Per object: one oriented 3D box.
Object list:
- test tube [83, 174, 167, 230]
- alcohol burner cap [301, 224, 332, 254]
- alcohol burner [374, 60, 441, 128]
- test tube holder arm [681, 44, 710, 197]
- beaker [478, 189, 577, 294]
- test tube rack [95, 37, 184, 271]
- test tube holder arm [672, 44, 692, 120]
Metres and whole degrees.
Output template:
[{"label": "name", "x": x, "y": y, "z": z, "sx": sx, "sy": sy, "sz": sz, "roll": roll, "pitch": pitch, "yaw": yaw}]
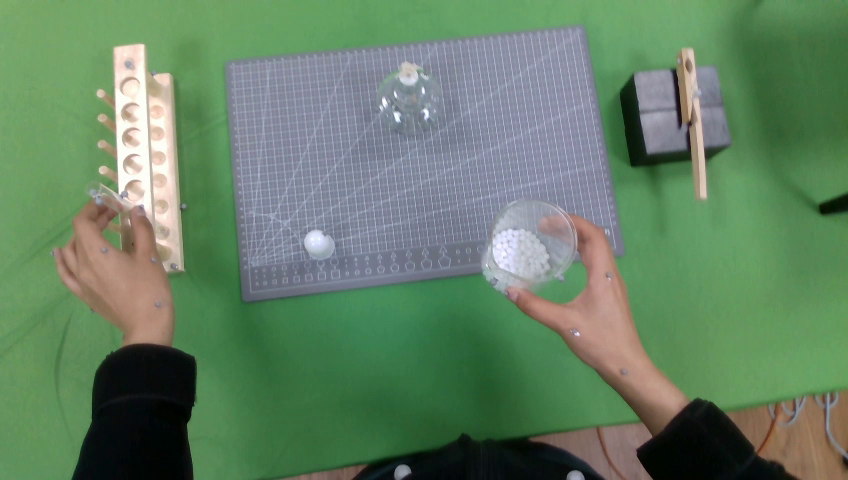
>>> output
[{"label": "test tube", "x": -0.300, "y": -0.036, "z": 0.620, "sx": 0.017, "sy": 0.151, "sz": 0.017, "roll": 0, "pitch": 76, "yaw": 1}, {"label": "alcohol burner cap", "x": -0.124, "y": -0.003, "z": 0.689, "sx": 0.034, "sy": 0.048, "sz": 0.033, "roll": 0, "pitch": 80, "yaw": -2}, {"label": "alcohol burner", "x": -0.019, "y": -0.172, "z": 0.684, "sx": 0.078, "sy": 0.119, "sz": 0.077, "roll": 0, "pitch": 81, "yaw": 0}, {"label": "test tube holder arm", "x": 0.308, "y": -0.138, "z": 0.691, "sx": 0.013, "sy": 0.015, "sz": 0.178, "roll": -6, "pitch": 82, "yaw": -1}, {"label": "beaker", "x": 0.086, "y": 0.009, "z": 0.547, "sx": 0.084, "sy": 0.100, "sz": 0.073, "roll": -32, "pitch": 78, "yaw": -9}, {"label": "test tube rack", "x": -0.325, "y": -0.093, "z": 0.679, "sx": 0.067, "sy": 0.085, "sz": 0.241, "roll": -7, "pitch": 81, "yaw": -2}, {"label": "test tube holder arm", "x": 0.298, "y": -0.182, "z": 0.697, "sx": 0.010, "sy": 0.015, "sz": 0.087, "roll": -4, "pitch": 82, "yaw": 0}]
